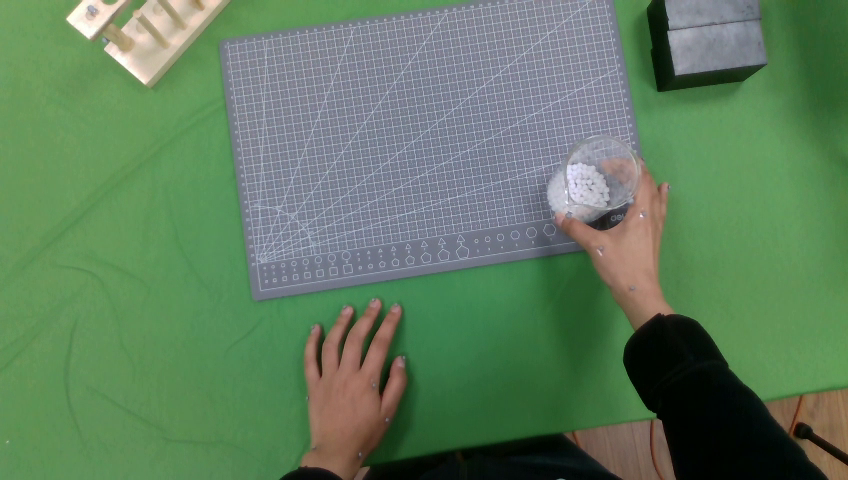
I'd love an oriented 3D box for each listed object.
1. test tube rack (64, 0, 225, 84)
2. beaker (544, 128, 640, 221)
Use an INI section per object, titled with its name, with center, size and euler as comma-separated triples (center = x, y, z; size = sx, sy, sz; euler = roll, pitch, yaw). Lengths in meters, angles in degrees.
[test tube rack]
center = -0.259, -0.293, 0.653
size = 0.066, 0.085, 0.242
euler = 40, 87, 4
[beaker]
center = 0.165, -0.059, 0.623
size = 0.084, 0.100, 0.074
euler = -44, 85, -6
